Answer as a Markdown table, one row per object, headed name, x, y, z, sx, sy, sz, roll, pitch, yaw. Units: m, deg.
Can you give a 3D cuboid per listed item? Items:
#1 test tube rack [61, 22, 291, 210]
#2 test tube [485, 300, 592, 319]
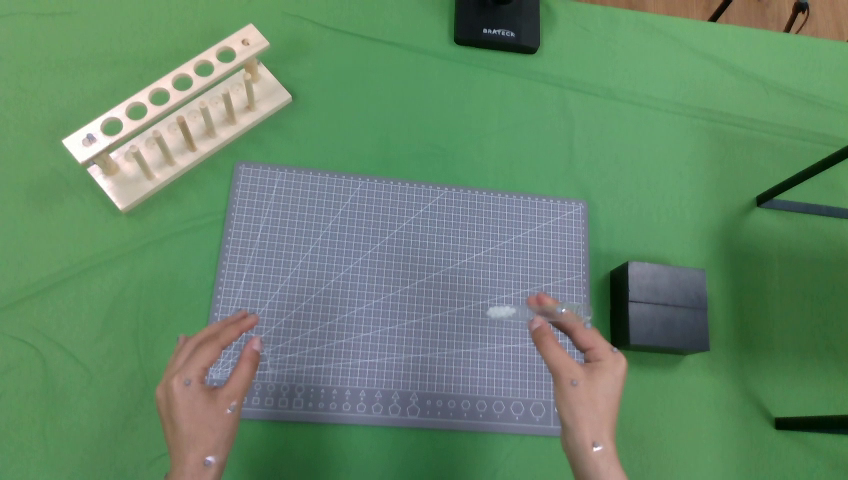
| name | x | y | z | sx | sy | sz | roll | pitch | yaw |
| --- | --- | --- | --- | --- | --- | --- | --- | --- | --- |
| test tube rack | -0.273 | -0.143 | 0.699 | 0.242 | 0.085 | 0.066 | -40 | 83 | -18 |
| test tube | 0.101 | 0.066 | 0.567 | 0.017 | 0.150 | 0.017 | 3 | 82 | -26 |
